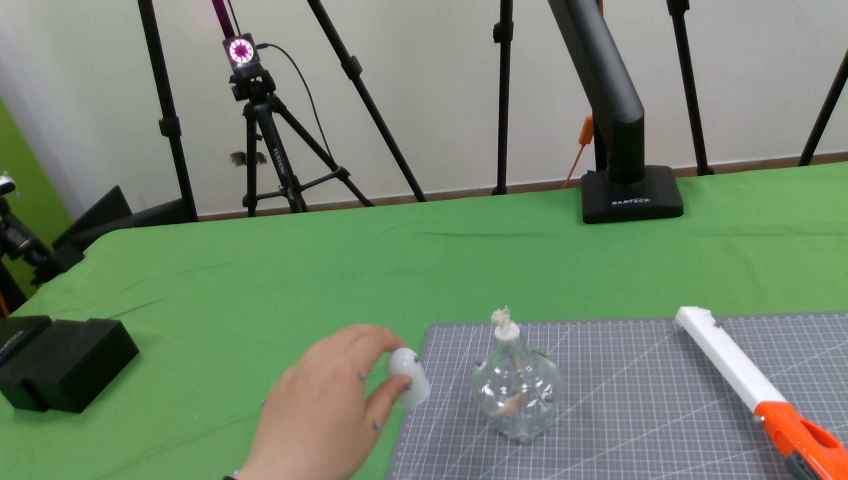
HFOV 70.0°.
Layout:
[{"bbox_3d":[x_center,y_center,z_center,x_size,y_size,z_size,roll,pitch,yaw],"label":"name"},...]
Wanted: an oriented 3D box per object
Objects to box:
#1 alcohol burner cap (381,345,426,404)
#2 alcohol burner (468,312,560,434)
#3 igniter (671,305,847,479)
[{"bbox_3d":[-0.017,0.102,0.473,0.034,0.048,0.033,-6,40,5],"label":"alcohol burner cap"},{"bbox_3d":[0.073,0.105,0.506,0.078,0.120,0.077,-8,34,6],"label":"alcohol burner"},{"bbox_3d":[0.271,0.135,0.462,0.057,0.025,0.274,5,27,-12],"label":"igniter"}]
